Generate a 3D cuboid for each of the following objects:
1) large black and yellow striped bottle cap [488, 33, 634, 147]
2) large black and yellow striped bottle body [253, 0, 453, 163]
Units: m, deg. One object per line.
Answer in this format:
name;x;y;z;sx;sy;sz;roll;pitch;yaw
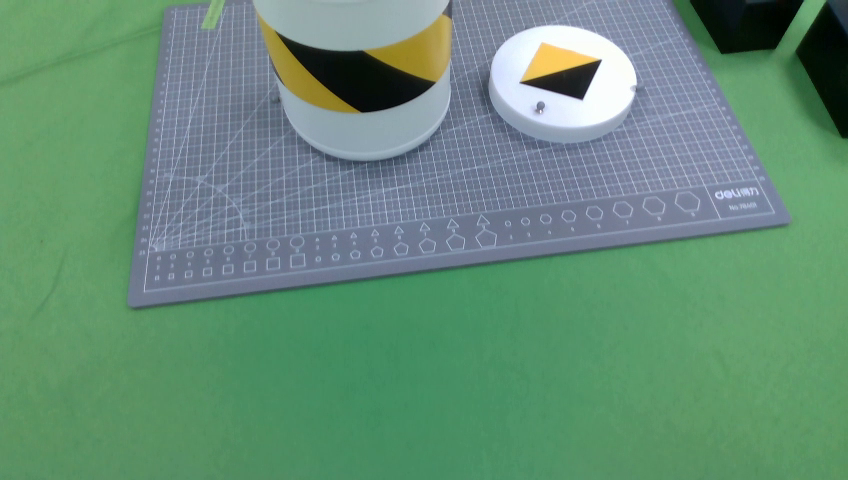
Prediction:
large black and yellow striped bottle cap;0.108;-0.122;0.482;0.115;0.019;0.114;0;57;0
large black and yellow striped bottle body;-0.045;-0.156;0.403;0.131;0.185;0.129;0;58;0
